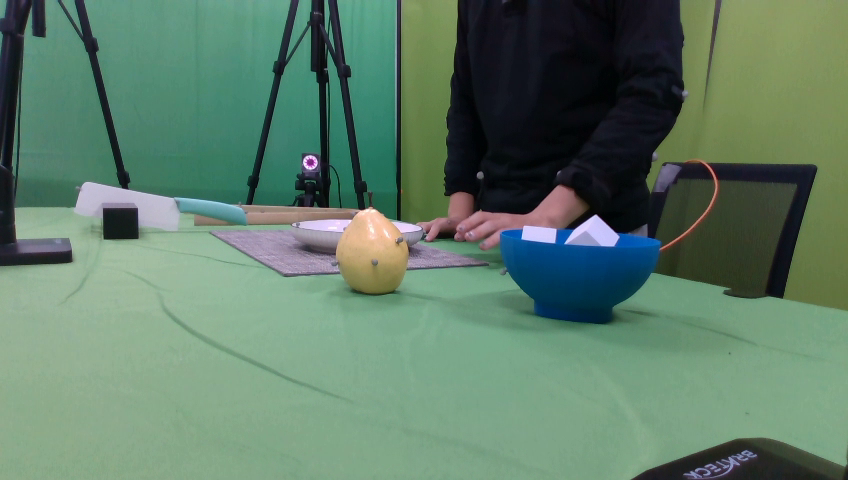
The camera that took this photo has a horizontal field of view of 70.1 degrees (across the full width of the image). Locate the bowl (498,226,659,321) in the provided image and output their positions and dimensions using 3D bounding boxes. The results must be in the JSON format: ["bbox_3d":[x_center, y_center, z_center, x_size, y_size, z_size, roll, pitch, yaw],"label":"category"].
[{"bbox_3d":[0.145,0.032,0.584,0.151,0.077,0.151,2,7,0],"label":"bowl"}]

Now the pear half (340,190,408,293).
[{"bbox_3d":[-0.047,0.002,0.641,0.055,0.110,0.076,6,19,32],"label":"pear half"}]

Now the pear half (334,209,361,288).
[{"bbox_3d":[-0.076,0.008,0.663,0.031,0.088,0.071,6,18,33],"label":"pear half"}]

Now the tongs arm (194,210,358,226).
[{"bbox_3d":[-0.298,-0.049,1.307,0.390,0.028,0.028,-3,8,-38],"label":"tongs arm"}]

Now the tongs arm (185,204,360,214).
[{"bbox_3d":[-0.337,-0.065,1.377,0.387,0.026,0.050,0,9,-25],"label":"tongs arm"}]

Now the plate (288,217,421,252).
[{"bbox_3d":[-0.109,-0.008,0.956,0.208,0.039,0.207,2,7,0],"label":"plate"}]

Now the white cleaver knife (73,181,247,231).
[{"bbox_3d":[-0.465,-0.052,1.090,0.288,0.066,0.021,9,7,-30],"label":"white cleaver knife"}]
